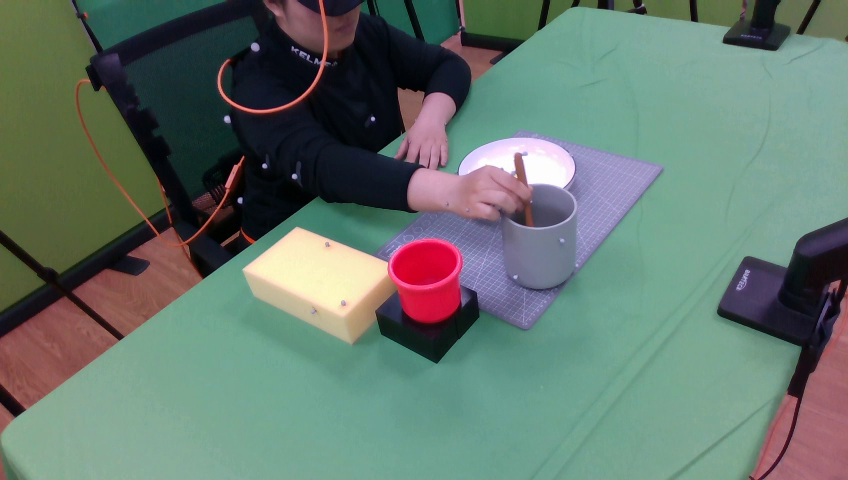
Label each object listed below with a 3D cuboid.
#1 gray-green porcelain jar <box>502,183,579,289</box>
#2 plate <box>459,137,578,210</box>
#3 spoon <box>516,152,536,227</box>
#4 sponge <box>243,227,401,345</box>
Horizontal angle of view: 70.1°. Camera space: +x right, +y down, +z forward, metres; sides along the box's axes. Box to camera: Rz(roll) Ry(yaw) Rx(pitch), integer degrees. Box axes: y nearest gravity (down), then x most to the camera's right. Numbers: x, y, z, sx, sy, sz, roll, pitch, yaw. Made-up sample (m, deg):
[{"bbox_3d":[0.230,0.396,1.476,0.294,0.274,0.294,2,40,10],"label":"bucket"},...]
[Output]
[{"bbox_3d":[0.167,-0.001,0.866,0.106,0.127,0.105,-5,40,5],"label":"gray-green porcelain jar"},{"bbox_3d":[0.166,-0.113,1.068,0.207,0.039,0.206,-5,40,5],"label":"plate"},{"bbox_3d":[0.144,-0.041,0.835,0.041,0.195,0.021,7,41,28],"label":"spoon"},{"bbox_3d":[-0.153,0.063,0.907,0.205,0.061,0.118,19,48,30],"label":"sponge"}]
